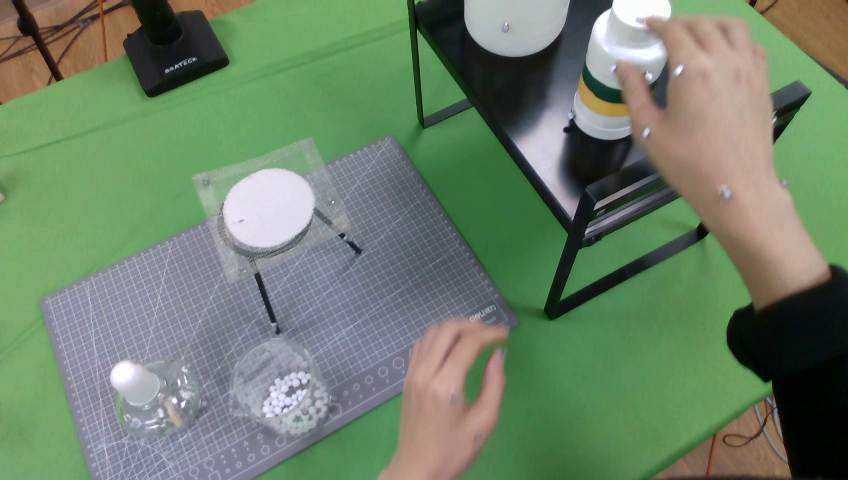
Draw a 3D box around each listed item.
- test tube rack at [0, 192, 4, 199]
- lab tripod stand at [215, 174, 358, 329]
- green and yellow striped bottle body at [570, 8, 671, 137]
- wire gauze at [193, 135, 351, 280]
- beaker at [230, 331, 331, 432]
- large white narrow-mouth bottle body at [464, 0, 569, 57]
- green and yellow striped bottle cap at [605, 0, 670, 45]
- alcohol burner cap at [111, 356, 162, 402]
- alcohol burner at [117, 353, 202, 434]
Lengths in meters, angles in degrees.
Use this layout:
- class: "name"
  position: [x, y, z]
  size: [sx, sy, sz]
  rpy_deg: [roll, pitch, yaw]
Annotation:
- class: "test tube rack"
  position: [-0.625, -0.009, 0.685]
  size: [0.066, 0.086, 0.242]
  rpy_deg: [36, 70, 19]
- class: "lab tripod stand"
  position: [-0.147, 0.001, 0.631]
  size: [0.148, 0.132, 0.147]
  rpy_deg: [-1, 61, 2]
- class: "green and yellow striped bottle body"
  position: [0.162, -0.145, 0.502]
  size: [0.063, 0.120, 0.062]
  rpy_deg: [-1, 63, 2]
- class: "wire gauze"
  position: [-0.145, -0.037, 0.574]
  size: [0.121, 0.011, 0.124]
  rpy_deg: [-22, 64, -10]
- class: "beaker"
  position: [-0.133, 0.142, 0.578]
  size: [0.084, 0.101, 0.073]
  rpy_deg: [-39, 67, -15]
- class: "large white narrow-mouth bottle body"
  position: [0.085, -0.262, 0.524]
  size: [0.102, 0.196, 0.101]
  rpy_deg: [-1, 61, 2]
- class: "green and yellow striped bottle cap"
  position: [0.161, -0.169, 0.456]
  size: [0.045, 0.020, 0.045]
  rpy_deg: [-2, 64, 3]
- class: "alcohol burner cap"
  position: [-0.261, 0.122, 0.544]
  size: [0.034, 0.048, 0.033]
  rpy_deg: [-1, 55, 2]
- class: "alcohol burner"
  position: [-0.259, 0.141, 0.576]
  size: [0.078, 0.120, 0.077]
  rpy_deg: [0, 61, 1]
